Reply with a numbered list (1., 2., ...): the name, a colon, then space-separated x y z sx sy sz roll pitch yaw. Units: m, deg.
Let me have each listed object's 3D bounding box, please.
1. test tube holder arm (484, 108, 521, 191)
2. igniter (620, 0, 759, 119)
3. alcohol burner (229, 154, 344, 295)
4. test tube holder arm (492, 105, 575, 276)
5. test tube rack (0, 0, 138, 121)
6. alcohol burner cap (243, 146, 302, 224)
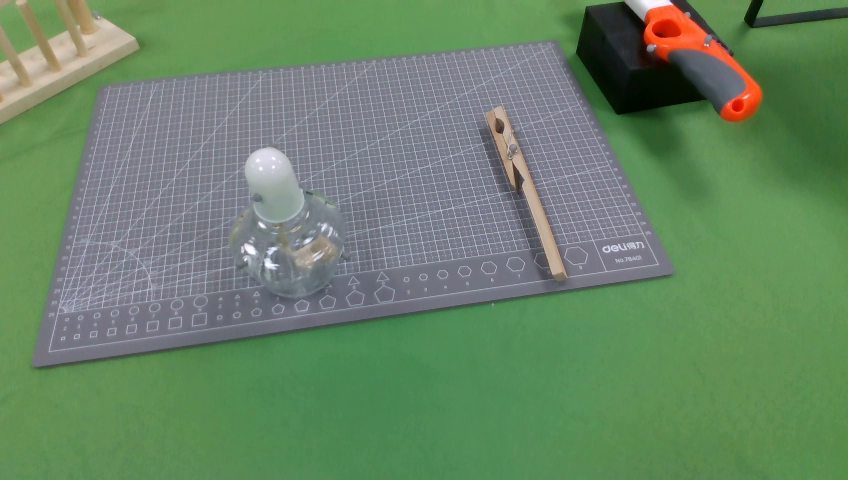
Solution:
1. test tube holder arm: 0.069 -0.078 0.514 0.010 0.015 0.087 -32 51 22
2. igniter: 0.212 -0.198 0.545 0.057 0.025 0.273 -14 51 -7
3. alcohol burner: -0.094 -0.015 0.402 0.078 0.120 0.077 0 54 0
4. test tube holder arm: 0.084 -0.046 0.486 0.013 0.015 0.176 -33 51 21
5. test tube rack: -0.391 -0.164 0.535 0.066 0.086 0.242 33 59 23
6. alcohol burner cap: -0.096 -0.036 0.374 0.034 0.048 0.033 0 55 0
